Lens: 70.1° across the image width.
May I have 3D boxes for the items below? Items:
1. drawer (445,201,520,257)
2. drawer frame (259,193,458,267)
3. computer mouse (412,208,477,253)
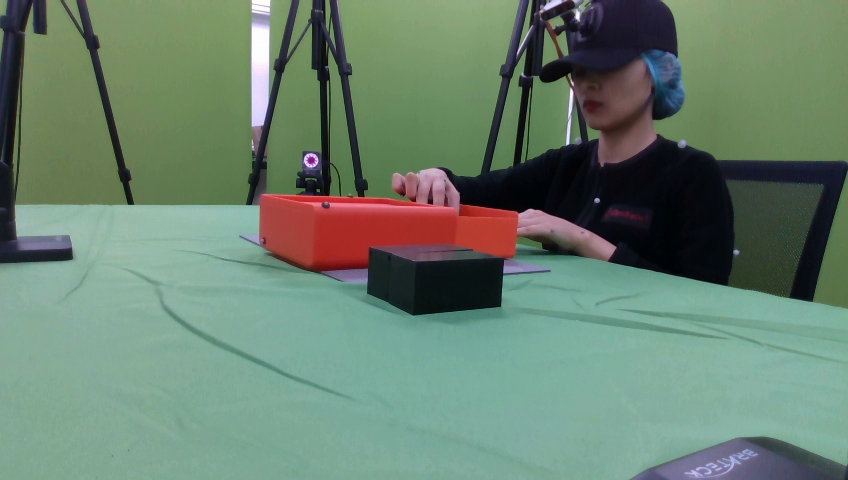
[{"bbox_3d":[0.002,-0.019,0.910,0.213,0.073,0.193,-1,9,-33],"label":"drawer"},{"bbox_3d":[-0.095,-0.019,0.845,0.215,0.082,0.200,-2,9,-34],"label":"drawer frame"},{"bbox_3d":[0.031,-0.017,0.916,0.063,0.041,0.116,9,21,-33],"label":"computer mouse"}]
